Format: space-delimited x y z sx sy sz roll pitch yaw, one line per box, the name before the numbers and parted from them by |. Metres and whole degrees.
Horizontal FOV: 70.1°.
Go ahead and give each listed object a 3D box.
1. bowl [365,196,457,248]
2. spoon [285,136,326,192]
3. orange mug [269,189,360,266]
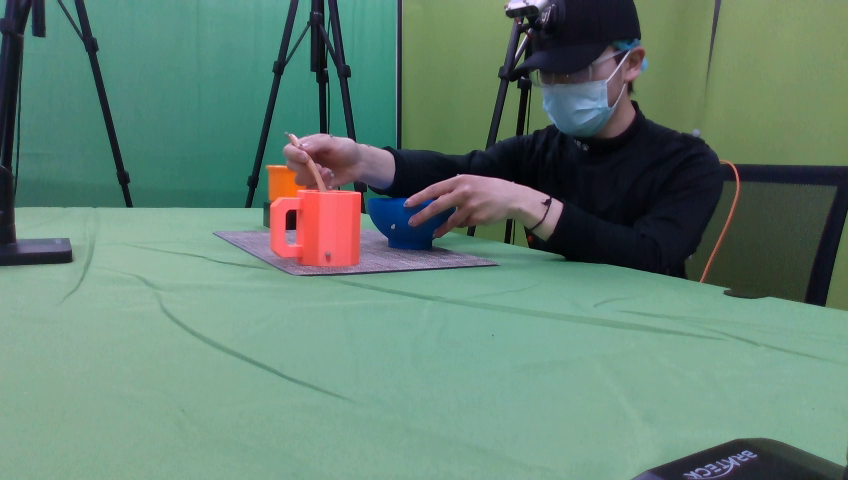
bowl | -0.022 -0.030 1.000 0.151 0.077 0.151 2 7 0
spoon | -0.151 -0.084 0.836 0.021 0.193 0.042 -35 -32 5
orange mug | -0.143 -0.019 0.796 0.127 0.100 0.083 3 5 -39
